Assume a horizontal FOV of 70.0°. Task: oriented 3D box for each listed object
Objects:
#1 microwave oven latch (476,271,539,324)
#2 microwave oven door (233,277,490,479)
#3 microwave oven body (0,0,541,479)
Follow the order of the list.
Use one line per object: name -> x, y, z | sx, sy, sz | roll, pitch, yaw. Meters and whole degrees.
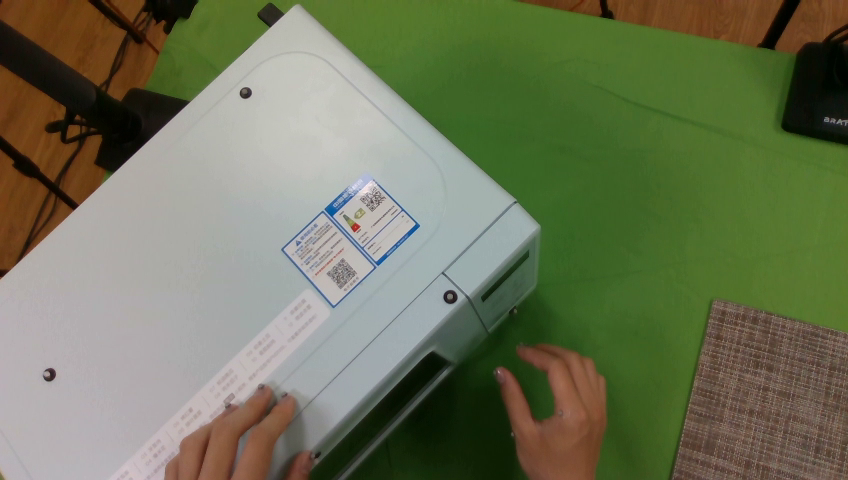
microwave oven latch -> 0.090, 0.056, 0.662 | 0.079, 0.030, 0.030 | -43, 74, -2
microwave oven door -> -0.085, 0.182, 0.552 | 0.355, 0.245, 0.039 | -45, 72, -3
microwave oven body -> -0.153, 0.057, 0.601 | 0.441, 0.262, 0.324 | -45, 74, -3
